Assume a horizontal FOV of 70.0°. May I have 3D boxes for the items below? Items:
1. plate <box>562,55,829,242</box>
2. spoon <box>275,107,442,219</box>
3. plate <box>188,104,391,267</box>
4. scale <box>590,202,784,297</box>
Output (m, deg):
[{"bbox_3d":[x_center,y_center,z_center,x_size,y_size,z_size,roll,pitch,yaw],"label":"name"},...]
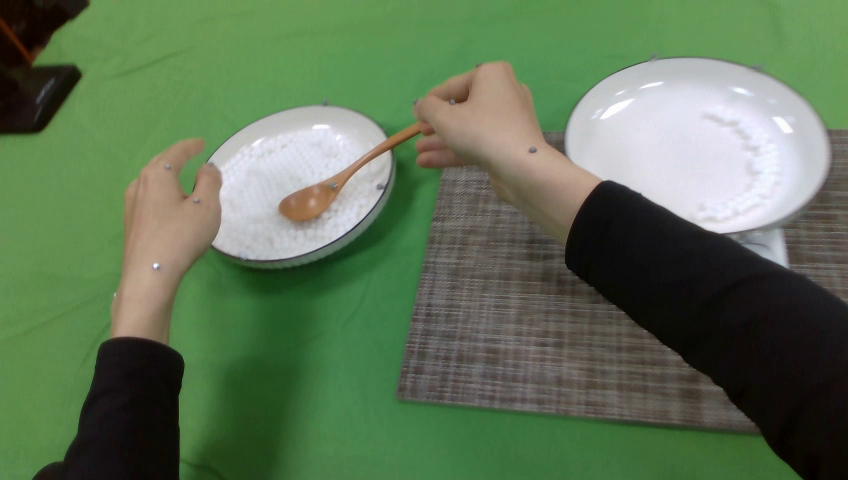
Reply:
[{"bbox_3d":[0.224,-0.079,0.521,0.207,0.039,0.205,-5,54,7],"label":"plate"},{"bbox_3d":[-0.061,-0.079,0.600,0.194,0.022,0.041,-35,56,-5],"label":"spoon"},{"bbox_3d":[-0.133,-0.055,0.619,0.209,0.038,0.207,-5,54,7],"label":"plate"},{"bbox_3d":[0.223,-0.043,0.536,0.148,0.032,0.199,1,55,13],"label":"scale"}]
